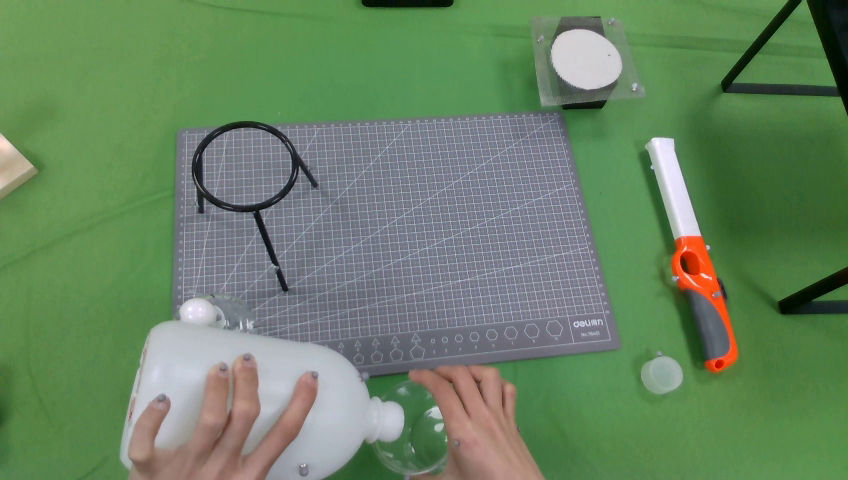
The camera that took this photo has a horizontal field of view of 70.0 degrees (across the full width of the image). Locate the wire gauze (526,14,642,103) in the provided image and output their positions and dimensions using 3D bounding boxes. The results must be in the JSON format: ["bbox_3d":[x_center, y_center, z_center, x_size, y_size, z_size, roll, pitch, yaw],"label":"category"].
[{"bbox_3d":[0.186,-0.217,0.713,0.122,0.011,0.124,-3,69,-7],"label":"wire gauze"}]

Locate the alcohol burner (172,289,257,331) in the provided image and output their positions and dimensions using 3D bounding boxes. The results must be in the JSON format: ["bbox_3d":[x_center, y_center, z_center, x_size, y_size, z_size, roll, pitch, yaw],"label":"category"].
[{"bbox_3d":[-0.192,0.076,0.543,0.078,0.120,0.077,3,66,-7],"label":"alcohol burner"}]

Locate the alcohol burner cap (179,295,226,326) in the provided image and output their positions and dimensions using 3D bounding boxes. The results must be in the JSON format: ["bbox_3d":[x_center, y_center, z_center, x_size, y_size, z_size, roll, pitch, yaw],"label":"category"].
[{"bbox_3d":[-0.188,0.064,0.510,0.034,0.048,0.033,2,73,-5],"label":"alcohol burner cap"}]

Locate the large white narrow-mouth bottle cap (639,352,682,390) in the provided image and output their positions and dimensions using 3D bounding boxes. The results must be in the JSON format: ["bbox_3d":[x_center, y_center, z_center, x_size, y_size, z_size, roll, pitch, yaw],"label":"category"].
[{"bbox_3d":[0.243,0.135,0.623,0.038,0.024,0.037,2,67,-4],"label":"large white narrow-mouth bottle cap"}]

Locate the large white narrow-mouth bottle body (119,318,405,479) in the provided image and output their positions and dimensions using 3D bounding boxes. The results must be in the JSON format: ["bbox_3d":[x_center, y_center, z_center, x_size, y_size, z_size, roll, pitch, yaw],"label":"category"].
[{"bbox_3d":[-0.106,0.121,0.443,0.196,0.102,0.101,15,64,-25],"label":"large white narrow-mouth bottle body"}]

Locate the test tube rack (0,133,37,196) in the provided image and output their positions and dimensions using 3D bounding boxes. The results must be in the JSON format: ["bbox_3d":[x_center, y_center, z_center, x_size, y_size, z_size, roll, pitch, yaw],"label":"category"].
[{"bbox_3d":[-0.511,-0.032,0.571,0.066,0.085,0.242,41,69,11],"label":"test tube rack"}]

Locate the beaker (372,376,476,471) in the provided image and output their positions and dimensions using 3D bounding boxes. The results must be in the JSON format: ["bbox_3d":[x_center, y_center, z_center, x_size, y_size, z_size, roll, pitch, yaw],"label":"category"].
[{"bbox_3d":[0.001,0.164,0.533,0.083,0.101,0.073,13,72,21],"label":"beaker"}]

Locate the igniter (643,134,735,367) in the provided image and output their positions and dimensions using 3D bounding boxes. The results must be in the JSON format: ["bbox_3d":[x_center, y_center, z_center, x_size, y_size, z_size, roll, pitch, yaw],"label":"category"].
[{"bbox_3d":[0.293,0.004,0.676,0.057,0.025,0.274,0,68,-18],"label":"igniter"}]

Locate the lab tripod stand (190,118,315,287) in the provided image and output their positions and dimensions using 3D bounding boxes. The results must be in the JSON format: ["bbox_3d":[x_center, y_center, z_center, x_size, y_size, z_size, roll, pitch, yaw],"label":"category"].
[{"bbox_3d":[-0.160,-0.041,0.584,0.149,0.132,0.147,3,68,-7],"label":"lab tripod stand"}]
